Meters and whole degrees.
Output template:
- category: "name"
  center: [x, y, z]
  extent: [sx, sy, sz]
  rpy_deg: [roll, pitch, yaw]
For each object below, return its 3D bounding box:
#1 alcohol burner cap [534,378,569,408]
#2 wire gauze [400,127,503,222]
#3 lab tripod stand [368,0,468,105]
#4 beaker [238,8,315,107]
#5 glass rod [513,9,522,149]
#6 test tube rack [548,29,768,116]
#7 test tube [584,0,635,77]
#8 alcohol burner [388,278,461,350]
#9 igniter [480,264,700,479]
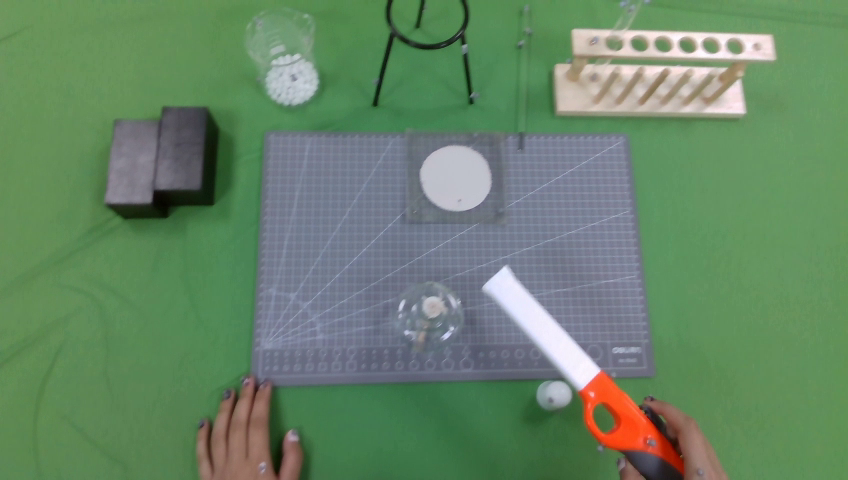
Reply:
- category: "alcohol burner cap"
  center: [0.141, 0.165, 0.659]
  extent: [0.034, 0.048, 0.033]
  rpy_deg: [1, 73, -3]
- category: "wire gauze"
  center: [0.032, -0.081, 0.732]
  extent: [0.125, 0.011, 0.121]
  rpy_deg: [1, 74, -3]
- category: "lab tripod stand"
  center: [-0.008, -0.228, 0.706]
  extent: [0.148, 0.132, 0.147]
  rpy_deg: [1, 74, -2]
- category: "beaker"
  center: [-0.165, -0.209, 0.707]
  extent: [0.084, 0.100, 0.073]
  rpy_deg: [-39, 81, -14]
- category: "glass rod"
  center: [0.120, -0.208, 0.774]
  extent: [0.008, 0.008, 0.198]
  rpy_deg: [4, 76, -3]
- category: "test tube rack"
  center: [0.283, -0.203, 0.746]
  extent: [0.243, 0.085, 0.066]
  rpy_deg: [0, 74, -4]
- category: "test tube"
  center: [0.213, -0.236, 0.698]
  extent: [0.017, 0.151, 0.017]
  rpy_deg: [1, 71, -2]
- category: "alcohol burner"
  center: [0.002, 0.074, 0.632]
  extent: [0.078, 0.119, 0.077]
  rpy_deg: [2, 73, -5]
- category: "igniter"
  center: [0.153, 0.134, 0.552]
  extent: [0.057, 0.025, 0.276]
  rpy_deg: [-40, 85, -12]
